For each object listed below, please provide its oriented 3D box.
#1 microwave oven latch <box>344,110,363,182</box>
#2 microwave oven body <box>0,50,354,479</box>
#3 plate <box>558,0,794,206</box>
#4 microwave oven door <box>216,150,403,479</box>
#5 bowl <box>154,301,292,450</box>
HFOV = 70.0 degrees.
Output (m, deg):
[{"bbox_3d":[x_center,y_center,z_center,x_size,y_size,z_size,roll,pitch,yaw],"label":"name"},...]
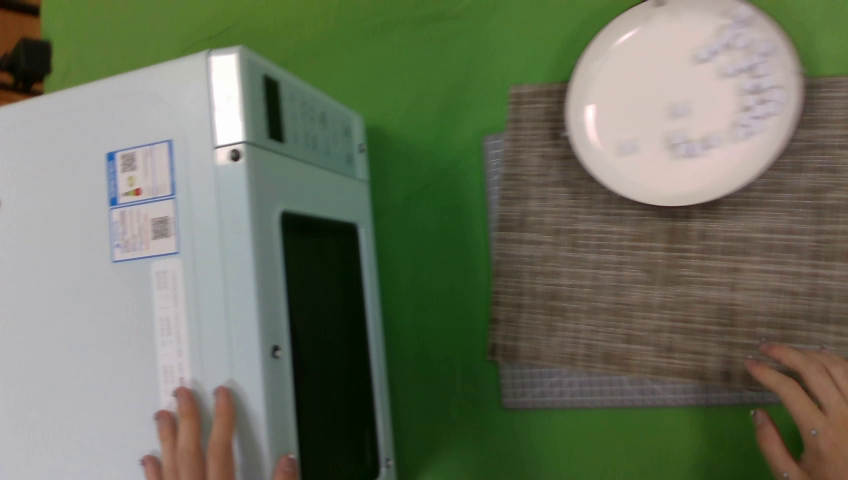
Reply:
[{"bbox_3d":[-0.089,-0.104,0.682,0.030,0.029,0.079,-8,87,17],"label":"microwave oven latch"},{"bbox_3d":[-0.238,0.088,0.624,0.325,0.261,0.441,-8,87,17],"label":"microwave oven body"},{"bbox_3d":[0.239,-0.134,0.592,0.208,0.038,0.209,-1,87,18],"label":"plate"},{"bbox_3d":[-0.096,0.109,0.573,0.039,0.245,0.355,-9,86,18],"label":"microwave oven door"},{"bbox_3d":[-0.197,0.137,0.643,0.151,0.077,0.151,-1,88,17],"label":"bowl"}]
